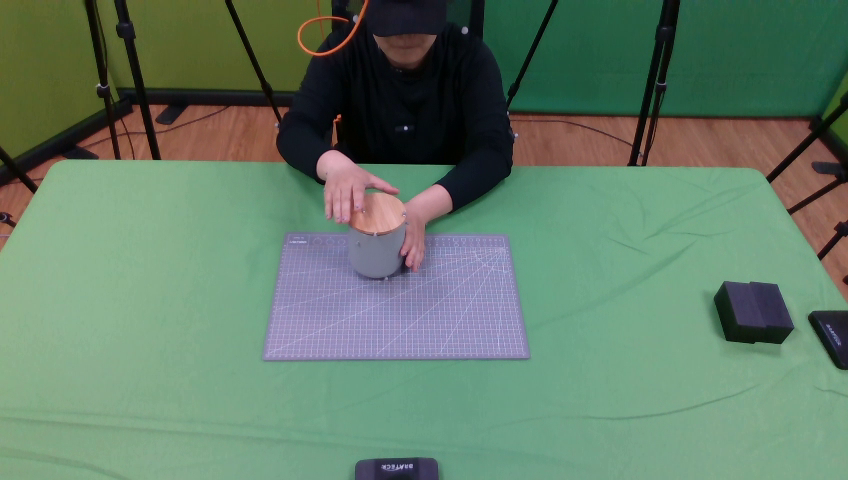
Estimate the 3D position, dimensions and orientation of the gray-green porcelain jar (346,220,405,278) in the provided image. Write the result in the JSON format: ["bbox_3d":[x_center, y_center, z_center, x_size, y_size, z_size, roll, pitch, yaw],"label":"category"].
[{"bbox_3d":[-0.089,0.000,1.116,0.106,0.127,0.105,2,46,-2],"label":"gray-green porcelain jar"}]

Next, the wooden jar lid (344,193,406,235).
[{"bbox_3d":[-0.086,-0.043,1.071,0.108,0.021,0.107,3,44,-3],"label":"wooden jar lid"}]
